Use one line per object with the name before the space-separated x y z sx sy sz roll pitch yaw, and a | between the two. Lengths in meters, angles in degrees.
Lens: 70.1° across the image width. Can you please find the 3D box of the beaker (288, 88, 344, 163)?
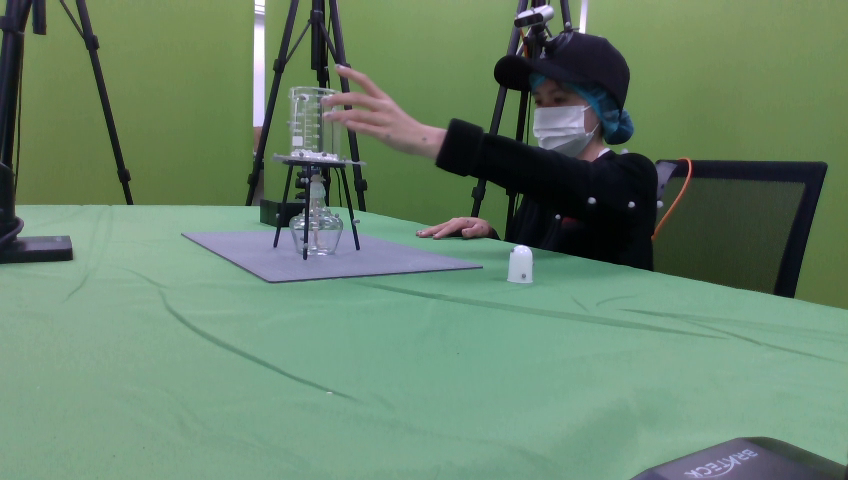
beaker | -0.158 -0.160 0.858 0.084 0.100 0.074 5 6 21

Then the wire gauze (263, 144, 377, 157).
wire gauze | -0.151 -0.128 0.869 0.122 0.011 0.124 -5 5 -35

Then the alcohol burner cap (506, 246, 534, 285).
alcohol burner cap | 0.119 0.032 0.740 0.034 0.048 0.034 2 7 0

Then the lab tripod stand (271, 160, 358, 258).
lab tripod stand | -0.160 -0.048 0.876 0.148 0.131 0.148 3 5 0

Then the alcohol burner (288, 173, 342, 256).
alcohol burner | -0.157 -0.037 0.871 0.078 0.119 0.078 1 6 0
